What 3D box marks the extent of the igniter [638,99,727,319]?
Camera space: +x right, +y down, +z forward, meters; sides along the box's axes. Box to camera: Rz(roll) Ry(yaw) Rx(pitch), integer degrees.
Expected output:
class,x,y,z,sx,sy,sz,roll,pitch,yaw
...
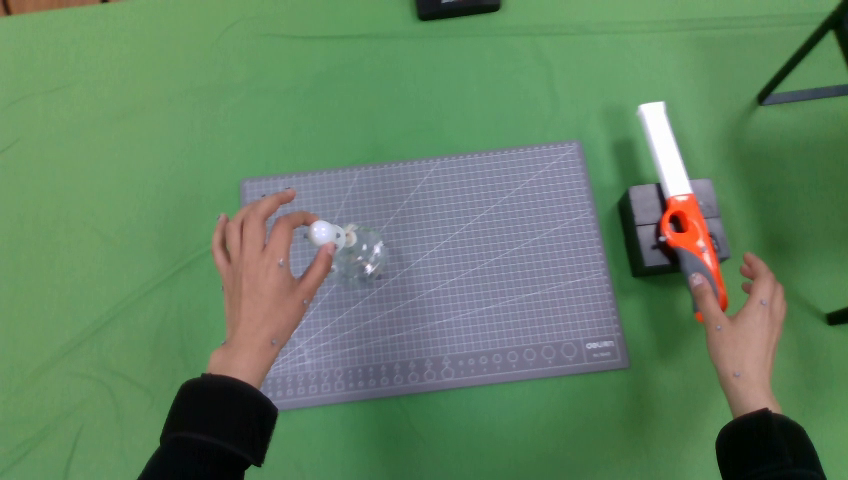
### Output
class,x,y,z,sx,sy,sz,roll,pitch,yaw
igniter,0.301,-0.043,0.709,0.057,0.025,0.274,-8,70,-1

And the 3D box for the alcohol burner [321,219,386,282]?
class,x,y,z,sx,sy,sz,roll,pitch,yaw
alcohol burner,-0.083,0.007,0.701,0.078,0.120,0.077,0,72,-1

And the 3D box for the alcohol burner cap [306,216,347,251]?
class,x,y,z,sx,sy,sz,roll,pitch,yaw
alcohol burner cap,-0.101,-0.008,0.615,0.034,0.048,0.033,-2,79,12
